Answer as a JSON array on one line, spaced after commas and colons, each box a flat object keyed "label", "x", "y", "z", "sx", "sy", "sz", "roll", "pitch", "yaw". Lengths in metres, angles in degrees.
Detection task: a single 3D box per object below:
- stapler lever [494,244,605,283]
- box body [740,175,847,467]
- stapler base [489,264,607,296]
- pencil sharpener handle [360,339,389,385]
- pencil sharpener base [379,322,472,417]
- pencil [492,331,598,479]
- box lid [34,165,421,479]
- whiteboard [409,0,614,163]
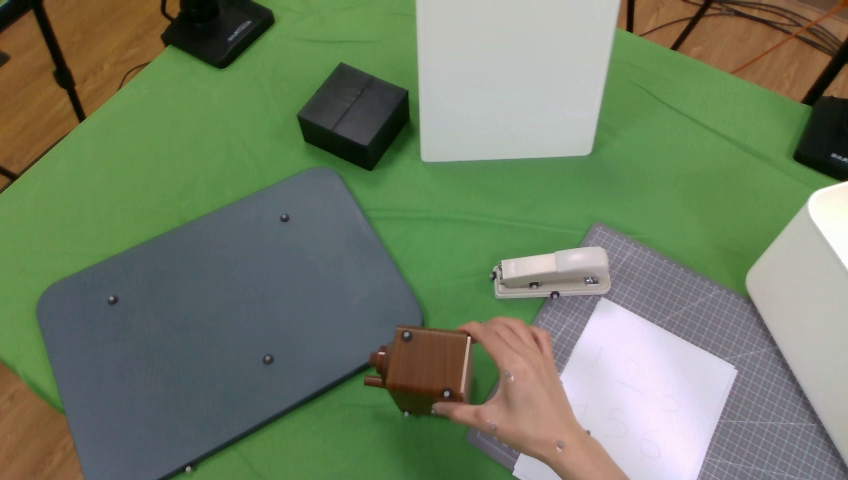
[{"label": "stapler lever", "x": 0.136, "y": 0.025, "z": 0.654, "sx": 0.118, "sy": 0.040, "sz": 0.026, "roll": -3, "pitch": 57, "yaw": 2}, {"label": "box body", "x": 0.505, "y": 0.113, "z": 0.555, "sx": 0.254, "sy": 0.161, "sz": 0.360, "roll": -15, "pitch": 62, "yaw": -8}, {"label": "stapler base", "x": 0.139, "y": 0.038, "z": 0.676, "sx": 0.130, "sy": 0.024, "sz": 0.041, "roll": -4, "pitch": 57, "yaw": 2}, {"label": "pencil sharpener handle", "x": -0.049, "y": 0.119, "z": 0.574, "sx": 0.030, "sy": 0.068, "sz": 0.035, "roll": 5, "pitch": 50, "yaw": 9}, {"label": "pencil sharpener base", "x": 0.003, "y": 0.126, "z": 0.579, "sx": 0.076, "sy": 0.108, "sz": 0.061, "roll": 5, "pitch": 64, "yaw": 9}, {"label": "pencil", "x": 0.120, "y": 0.170, "z": 0.611, "sx": 0.012, "sy": 0.012, "sz": 0.192, "roll": -27, "pitch": 63, "yaw": -13}, {"label": "box lid", "x": -0.217, "y": 0.078, "z": 0.665, "sx": 0.372, "sy": 0.015, "sz": 0.261, "roll": -27, "pitch": 65, "yaw": -14}, {"label": "whiteboard", "x": 0.092, "y": -0.263, "z": 0.716, "sx": 0.217, "sy": 0.308, "sz": 0.142, "roll": -2, "pitch": 42, "yaw": 0}]
